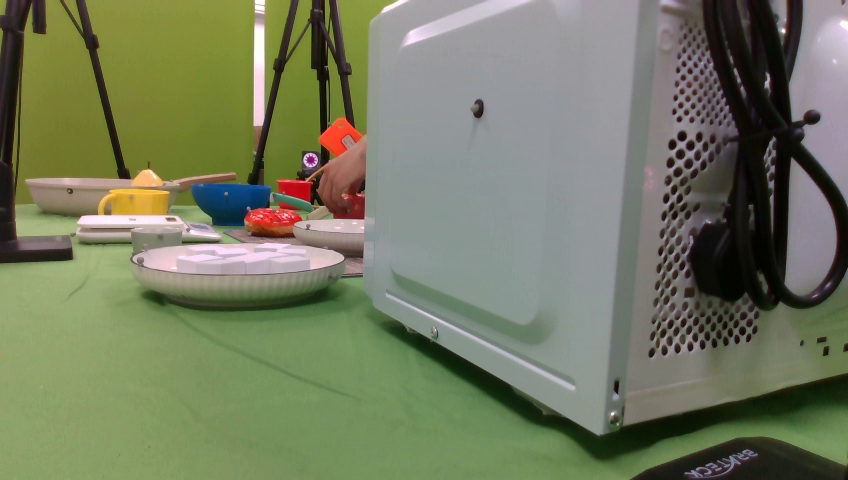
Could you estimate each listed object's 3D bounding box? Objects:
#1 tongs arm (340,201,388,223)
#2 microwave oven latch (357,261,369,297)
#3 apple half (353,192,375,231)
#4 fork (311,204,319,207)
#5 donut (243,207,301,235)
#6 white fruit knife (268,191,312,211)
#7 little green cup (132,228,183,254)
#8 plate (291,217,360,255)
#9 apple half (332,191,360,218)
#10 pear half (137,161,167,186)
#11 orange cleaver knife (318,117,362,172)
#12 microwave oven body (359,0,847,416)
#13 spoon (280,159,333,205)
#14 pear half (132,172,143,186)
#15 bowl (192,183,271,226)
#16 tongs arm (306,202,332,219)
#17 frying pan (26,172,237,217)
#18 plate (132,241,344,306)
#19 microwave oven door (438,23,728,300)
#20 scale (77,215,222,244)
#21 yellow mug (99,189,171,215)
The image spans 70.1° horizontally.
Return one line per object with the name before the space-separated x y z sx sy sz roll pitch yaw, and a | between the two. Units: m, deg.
tongs arm | -0.149 -0.069 1.429 0.051 0.026 0.383 -4 8 -15
microwave oven latch | -0.019 0.033 0.530 0.079 0.029 0.030 -1 7 -26
apple half | -0.110 -0.056 1.146 0.033 0.081 0.081 -4 9 -23
fork | -0.356 -0.105 1.526 0.208 0.018 0.028 16 -6 -41
donut | -0.261 -0.032 1.043 0.099 0.048 0.099 4 9 0
white fruit knife | -0.364 -0.105 1.464 0.208 0.027 0.016 15 0 -34
little green cup | -0.342 0.006 0.779 0.061 0.038 0.061 2 8 0
plate | -0.098 -0.007 0.928 0.209 0.038 0.209 2 8 0
apple half | -0.145 -0.053 1.131 0.053 0.074 0.080 -6 14 -22
pear half | -0.602 -0.120 1.354 0.056 0.110 0.076 4 11 6
orange cleaver knife | -0.109 -0.170 1.215 0.212 0.077 0.012 30 10 -16
microwave oven body | 0.211 -0.047 0.474 0.444 0.260 0.324 -1 7 -28
spoon | -0.316 -0.159 1.640 0.194 0.022 0.041 -50 32 -20
pear half | -0.638 -0.113 1.361 0.031 0.088 0.070 5 11 4
bowl | -0.382 -0.071 1.202 0.151 0.077 0.151 3 7 0
tongs arm | -0.234 -0.067 1.414 0.028 0.028 0.387 -5 7 0
frying pan | -0.624 -0.118 1.387 0.305 0.102 0.490 8 17 32
plate | -0.187 0.033 0.625 0.208 0.039 0.207 2 8 0
microwave oven door | 0.181 -0.073 0.621 0.358 0.243 0.039 -2 8 -29
scale | -0.434 -0.019 0.963 0.202 0.031 0.148 -1 9 -27
yellow mug | -0.519 -0.055 1.080 0.099 0.064 0.131 7 9 26
